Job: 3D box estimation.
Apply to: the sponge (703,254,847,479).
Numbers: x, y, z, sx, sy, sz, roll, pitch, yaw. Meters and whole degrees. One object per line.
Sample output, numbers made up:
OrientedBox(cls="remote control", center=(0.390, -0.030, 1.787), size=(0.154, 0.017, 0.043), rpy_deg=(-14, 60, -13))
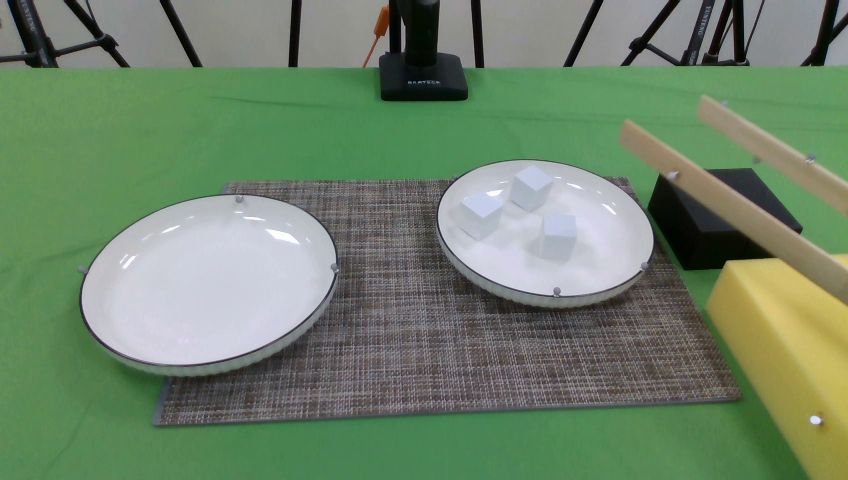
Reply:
OrientedBox(cls="sponge", center=(0.326, 0.104, 0.469), size=(0.118, 0.061, 0.204), rpy_deg=(-4, 42, -7))

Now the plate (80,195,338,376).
OrientedBox(cls="plate", center=(-0.178, 0.037, 0.525), size=(0.209, 0.038, 0.207), rpy_deg=(2, 41, -1))

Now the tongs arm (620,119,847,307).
OrientedBox(cls="tongs arm", center=(0.277, 0.015, 0.417), size=(0.028, 0.028, 0.383), rpy_deg=(-19, 47, -26))

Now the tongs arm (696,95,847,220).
OrientedBox(cls="tongs arm", center=(0.324, -0.001, 0.434), size=(0.051, 0.027, 0.380), rpy_deg=(-18, 47, -21))

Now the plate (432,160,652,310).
OrientedBox(cls="plate", center=(0.111, -0.005, 0.591), size=(0.208, 0.039, 0.205), rpy_deg=(2, 42, -1))
